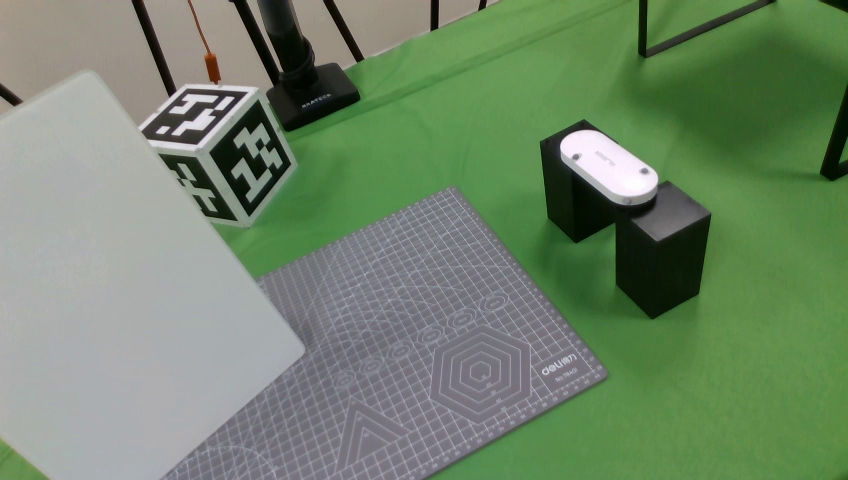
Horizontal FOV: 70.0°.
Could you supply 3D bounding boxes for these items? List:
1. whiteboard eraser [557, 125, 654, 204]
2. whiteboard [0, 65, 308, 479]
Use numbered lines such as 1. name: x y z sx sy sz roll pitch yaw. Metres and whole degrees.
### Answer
1. whiteboard eraser: 0.150 -0.066 0.511 0.041 0.019 0.100 -27 46 -11
2. whiteboard: -0.290 0.043 0.524 0.217 0.308 0.142 -41 30 -21
